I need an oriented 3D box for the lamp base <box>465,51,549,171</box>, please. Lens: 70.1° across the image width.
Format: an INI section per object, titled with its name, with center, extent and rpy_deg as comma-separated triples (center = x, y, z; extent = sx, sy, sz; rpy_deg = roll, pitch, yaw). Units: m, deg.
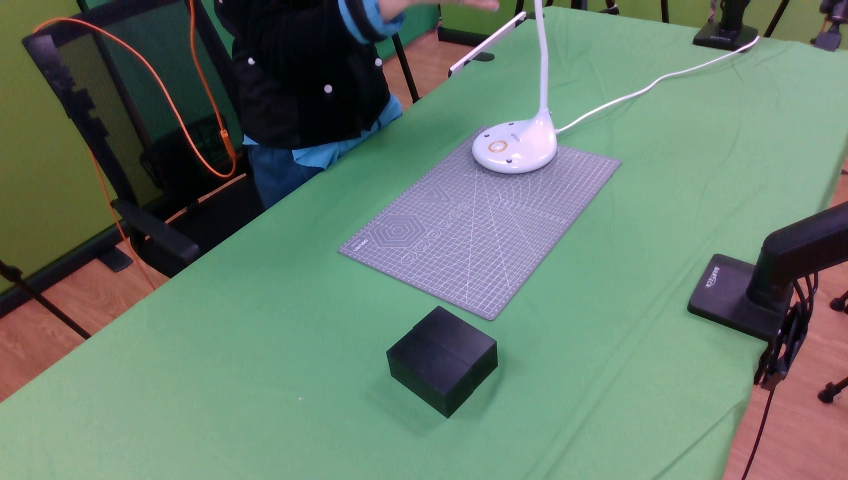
[lamp base]
center = 0.159, -0.243, 1.103
extent = 0.180, 0.181, 0.159
rpy_deg = -31, 46, -29
